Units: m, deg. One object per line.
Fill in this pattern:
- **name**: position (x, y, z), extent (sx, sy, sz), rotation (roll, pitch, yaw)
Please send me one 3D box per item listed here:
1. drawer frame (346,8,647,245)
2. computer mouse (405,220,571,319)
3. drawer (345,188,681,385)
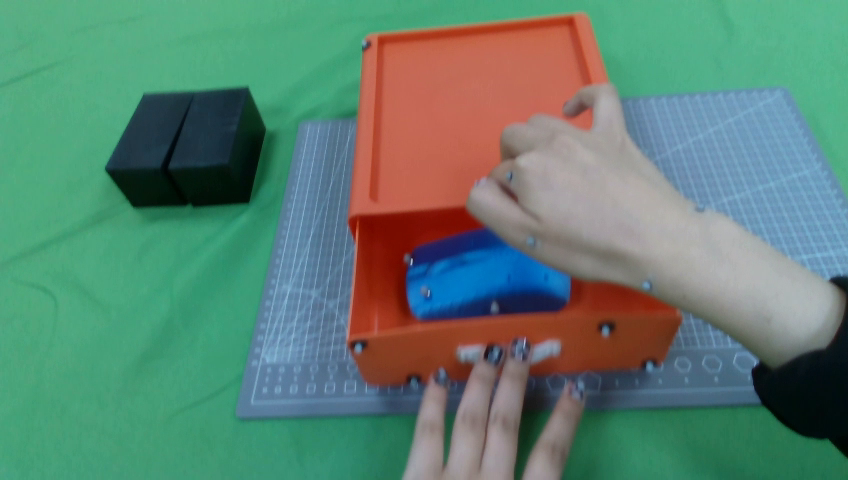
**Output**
- **drawer frame**: position (0.048, -0.084, 0.487), extent (0.201, 0.083, 0.211), rotation (-5, 52, 4)
- **computer mouse**: position (0.043, 0.020, 0.427), extent (0.117, 0.041, 0.062), rotation (-6, 56, 8)
- **drawer**: position (0.051, -0.009, 0.433), extent (0.194, 0.074, 0.209), rotation (-5, 52, 5)
